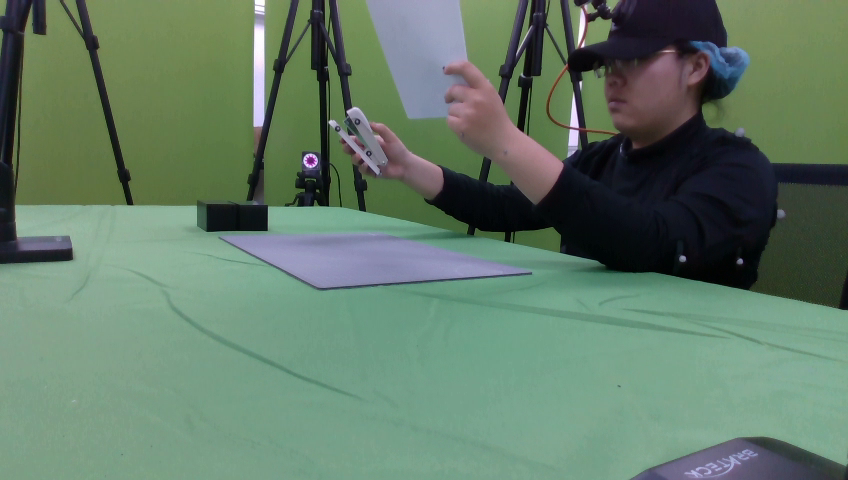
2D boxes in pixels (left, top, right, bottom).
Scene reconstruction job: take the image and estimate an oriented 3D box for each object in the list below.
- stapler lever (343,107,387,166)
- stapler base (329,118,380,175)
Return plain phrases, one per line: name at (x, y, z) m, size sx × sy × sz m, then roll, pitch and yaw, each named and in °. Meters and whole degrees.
stapler lever at (-0.101, -0.191, 1.110) m, size 0.040 × 0.118 × 0.027 m, roll -38°, pitch 17°, yaw 7°
stapler base at (-0.122, -0.176, 1.111) m, size 0.024 × 0.131 × 0.041 m, roll -38°, pitch 17°, yaw 7°
